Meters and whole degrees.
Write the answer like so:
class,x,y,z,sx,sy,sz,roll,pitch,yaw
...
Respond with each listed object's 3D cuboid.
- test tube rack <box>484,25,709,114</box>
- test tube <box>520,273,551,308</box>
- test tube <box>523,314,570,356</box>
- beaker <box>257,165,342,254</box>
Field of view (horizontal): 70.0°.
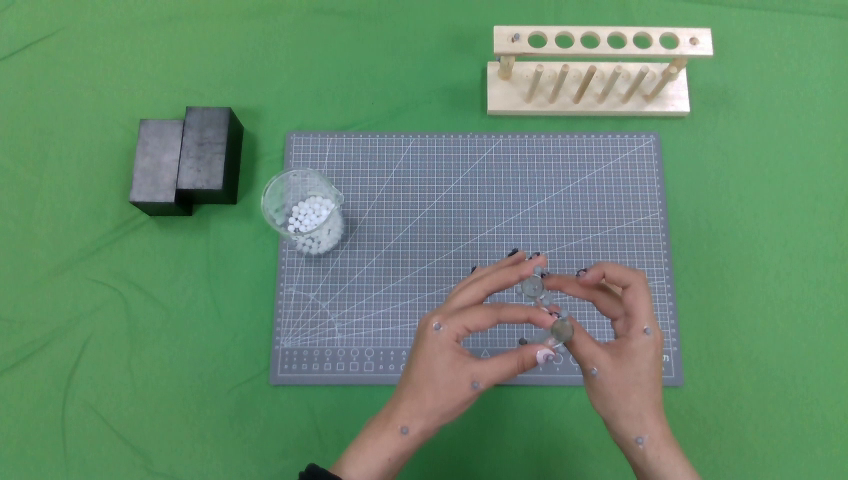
class,x,y,z,sx,sy,sz,roll,pitch,yaw
test tube rack,0.195,-0.198,0.709,0.242,0.085,0.066,1,75,0
test tube,0.088,0.041,0.471,0.017,0.151,0.017,-2,80,14
test tube,0.092,0.077,0.469,0.017,0.151,0.017,-1,75,2
beaker,-0.126,-0.029,0.656,0.084,0.100,0.073,-7,76,-2
